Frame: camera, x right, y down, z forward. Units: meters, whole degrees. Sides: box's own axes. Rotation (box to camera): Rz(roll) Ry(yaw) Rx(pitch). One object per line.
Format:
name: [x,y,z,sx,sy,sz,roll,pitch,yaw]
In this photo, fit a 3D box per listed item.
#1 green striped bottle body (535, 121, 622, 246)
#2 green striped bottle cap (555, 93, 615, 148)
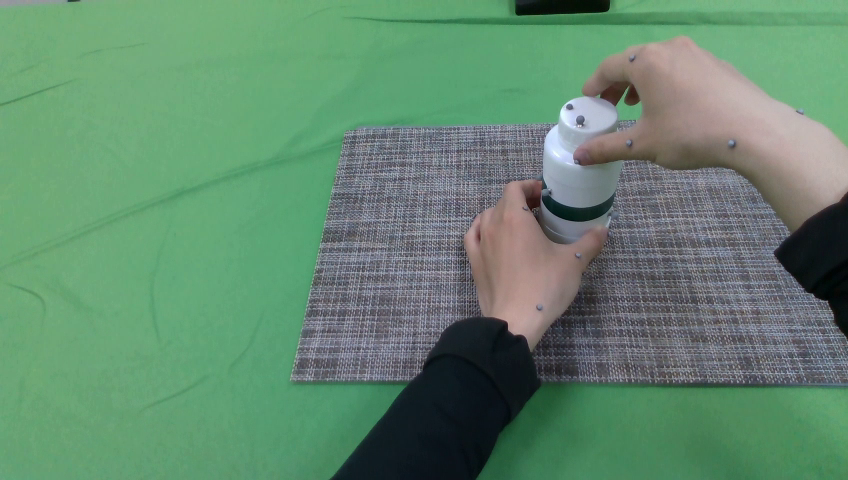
green striped bottle body: [0.127,-0.055,0.503,0.063,0.120,0.062,-3,50,4]
green striped bottle cap: [0.123,-0.092,0.462,0.044,0.020,0.044,-4,52,5]
